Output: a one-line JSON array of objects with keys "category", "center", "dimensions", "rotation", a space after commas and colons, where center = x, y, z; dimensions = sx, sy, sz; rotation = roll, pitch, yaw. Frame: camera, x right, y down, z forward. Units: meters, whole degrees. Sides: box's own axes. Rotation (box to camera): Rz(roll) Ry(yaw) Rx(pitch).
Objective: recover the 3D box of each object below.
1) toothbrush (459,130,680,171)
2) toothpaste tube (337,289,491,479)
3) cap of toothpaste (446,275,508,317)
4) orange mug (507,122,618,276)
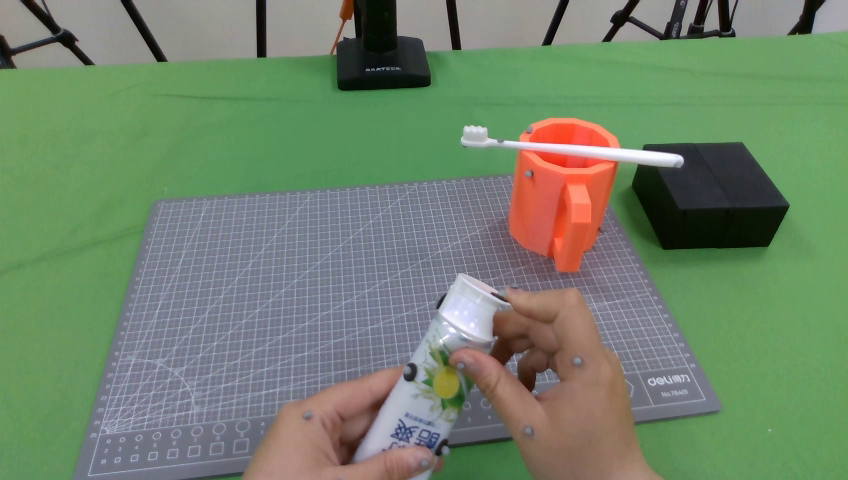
[{"category": "toothbrush", "center": [0.119, -0.074, 0.502], "dimensions": [0.181, 0.017, 0.014], "rotation": [8, 35, 7]}, {"category": "toothpaste tube", "center": [-0.007, 0.101, 0.339], "dimensions": [0.055, 0.165, 0.034], "rotation": [24, 6, -5]}, {"category": "cap of toothpaste", "center": [0.028, 0.032, 0.330], "dimensions": [0.037, 0.011, 0.037], "rotation": [28, 6, -3]}, {"category": "orange mug", "center": [0.123, -0.033, 0.535], "dimensions": [0.083, 0.101, 0.125], "rotation": [1, 39, 0]}]
